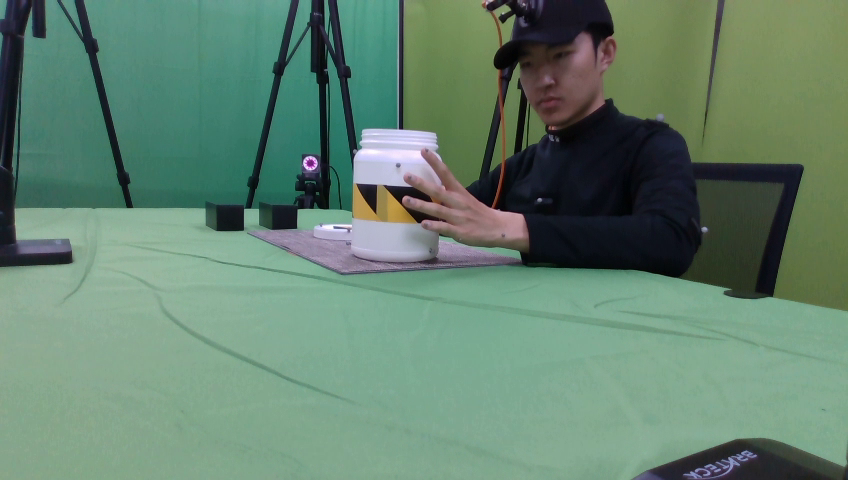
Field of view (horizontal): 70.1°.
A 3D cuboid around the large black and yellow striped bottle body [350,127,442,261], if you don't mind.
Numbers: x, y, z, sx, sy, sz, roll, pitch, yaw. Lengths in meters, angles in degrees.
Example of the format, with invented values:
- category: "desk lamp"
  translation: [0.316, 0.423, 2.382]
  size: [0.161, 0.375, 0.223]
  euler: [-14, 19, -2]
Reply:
- category: "large black and yellow striped bottle body"
  translation: [-0.040, -0.068, 0.881]
  size: [0.131, 0.184, 0.130]
  euler: [2, 7, 0]

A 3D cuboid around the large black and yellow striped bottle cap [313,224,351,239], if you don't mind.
- category: "large black and yellow striped bottle cap"
  translation: [-0.145, -0.016, 1.108]
  size: [0.115, 0.019, 0.115]
  euler: [3, 7, 0]
